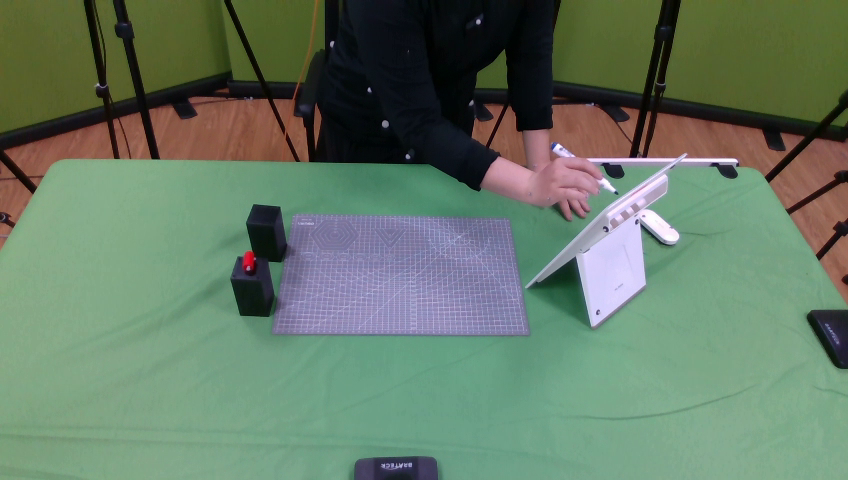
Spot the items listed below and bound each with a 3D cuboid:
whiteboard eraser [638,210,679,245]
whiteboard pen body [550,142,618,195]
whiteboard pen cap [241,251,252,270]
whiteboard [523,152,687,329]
[{"bbox_3d":[0.485,-0.026,1.260,0.041,0.019,0.100,-21,50,-21],"label":"whiteboard eraser"},{"bbox_3d":[0.274,-0.121,1.034,0.140,0.017,0.017,38,52,5],"label":"whiteboard pen body"},{"bbox_3d":[-0.294,0.033,1.006,0.017,0.017,0.032,-3,44,-7],"label":"whiteboard pen cap"},{"bbox_3d":[0.347,0.025,1.046,0.217,0.306,0.143,-30,74,-29],"label":"whiteboard"}]
